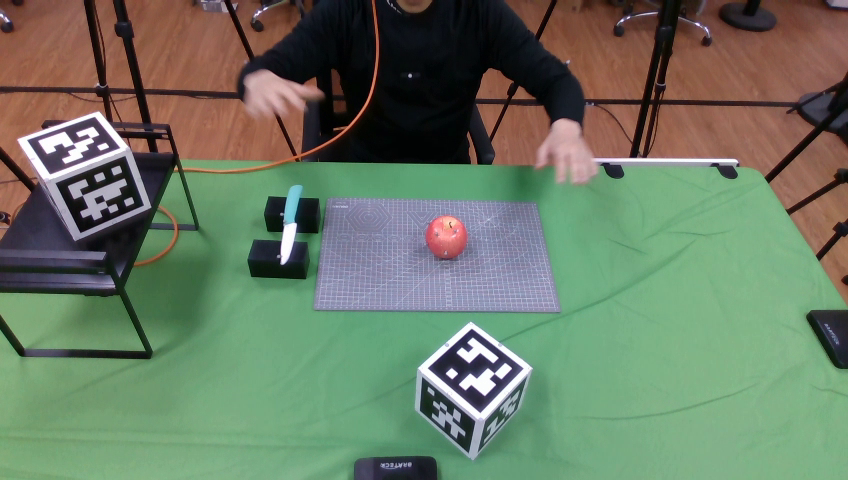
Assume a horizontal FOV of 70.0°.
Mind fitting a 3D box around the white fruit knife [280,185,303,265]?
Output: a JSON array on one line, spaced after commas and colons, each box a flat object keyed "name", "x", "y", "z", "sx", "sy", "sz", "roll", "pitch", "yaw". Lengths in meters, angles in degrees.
[{"name": "white fruit knife", "x": -0.253, "y": -0.033, "z": 1.143, "sx": 0.027, "sy": 0.016, "sz": 0.206, "roll": 7, "pitch": 46, "yaw": -10}]

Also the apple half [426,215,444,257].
[{"name": "apple half", "x": 0.019, "y": -0.006, "z": 1.158, "sx": 0.033, "sy": 0.081, "sz": 0.081, "roll": 3, "pitch": 46, "yaw": -7}]

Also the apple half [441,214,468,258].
[{"name": "apple half", "x": 0.058, "y": -0.005, "z": 1.162, "sx": 0.053, "sy": 0.075, "sz": 0.080, "roll": 4, "pitch": 41, "yaw": -6}]
